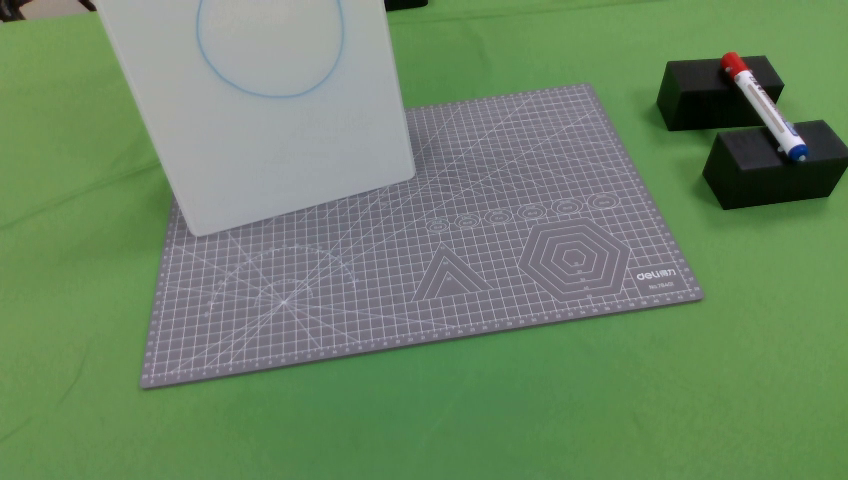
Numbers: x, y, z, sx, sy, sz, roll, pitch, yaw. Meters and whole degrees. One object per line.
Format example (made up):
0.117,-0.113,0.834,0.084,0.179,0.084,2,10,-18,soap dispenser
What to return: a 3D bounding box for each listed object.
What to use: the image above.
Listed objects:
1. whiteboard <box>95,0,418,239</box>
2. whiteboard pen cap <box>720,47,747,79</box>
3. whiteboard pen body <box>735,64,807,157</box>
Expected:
-0.150,-0.191,0.551,0.217,0.308,0.142,-16,32,-9,whiteboard
0.303,-0.171,0.588,0.017,0.017,0.032,-6,52,-1,whiteboard pen cap
0.309,-0.127,0.551,0.017,0.017,0.139,-7,51,-1,whiteboard pen body
